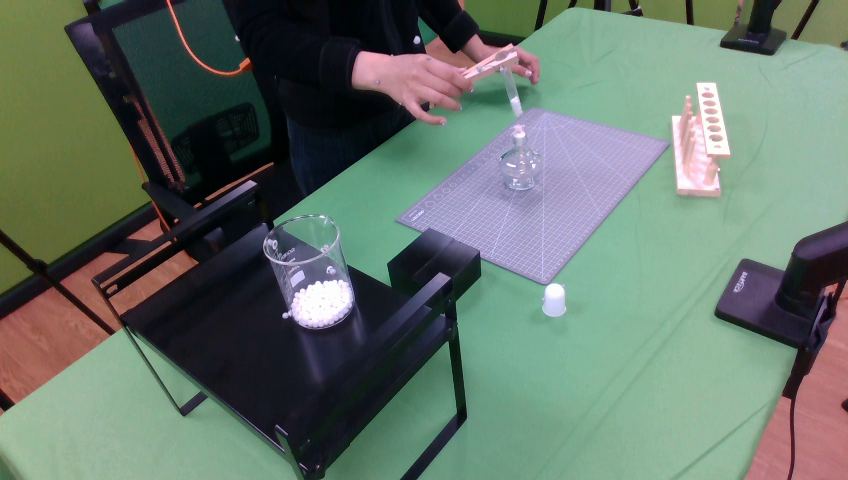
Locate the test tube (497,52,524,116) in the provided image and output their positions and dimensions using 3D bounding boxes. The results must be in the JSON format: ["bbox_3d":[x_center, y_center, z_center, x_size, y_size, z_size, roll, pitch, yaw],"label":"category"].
[{"bbox_3d":[0.134,-0.236,0.931,0.017,0.151,0.017,-7,66,17],"label":"test tube"}]

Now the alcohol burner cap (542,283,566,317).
[{"bbox_3d":[0.181,0.080,0.839,0.034,0.048,0.033,-3,40,3],"label":"alcohol burner cap"}]

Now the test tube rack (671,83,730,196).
[{"bbox_3d":[0.482,-0.184,1.067,0.066,0.085,0.242,5,42,15],"label":"test tube rack"}]

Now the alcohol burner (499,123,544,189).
[{"bbox_3d":[0.168,-0.149,1.048,0.078,0.119,0.077,-6,41,5],"label":"alcohol burner"}]

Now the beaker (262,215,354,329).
[{"bbox_3d":[-0.112,0.034,0.616,0.073,0.101,0.084,13,44,23],"label":"beaker"}]

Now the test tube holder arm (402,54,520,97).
[{"bbox_3d":[0.052,-0.240,0.886,0.178,0.015,0.013,-15,80,15],"label":"test tube holder arm"}]

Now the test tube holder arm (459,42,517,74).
[{"bbox_3d":[0.092,-0.260,0.875,0.087,0.015,0.010,-26,78,13],"label":"test tube holder arm"}]
